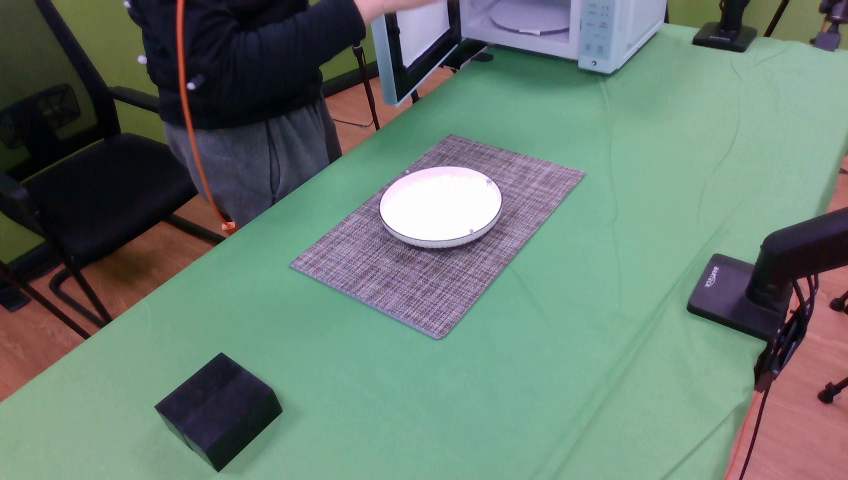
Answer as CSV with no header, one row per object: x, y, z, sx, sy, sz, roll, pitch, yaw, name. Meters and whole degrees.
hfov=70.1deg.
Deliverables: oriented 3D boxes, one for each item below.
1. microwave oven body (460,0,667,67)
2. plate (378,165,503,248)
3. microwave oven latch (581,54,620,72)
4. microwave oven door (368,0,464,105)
0.324,-0.609,1.437,0.438,0.261,0.327,22,50,31,microwave oven body
0.029,-0.053,1.008,0.209,0.038,0.208,-4,41,4,plate
0.386,-0.393,1.330,0.078,0.029,0.030,26,52,33,microwave oven latch
-0.007,-0.496,1.348,0.039,0.245,0.356,14,46,23,microwave oven door
